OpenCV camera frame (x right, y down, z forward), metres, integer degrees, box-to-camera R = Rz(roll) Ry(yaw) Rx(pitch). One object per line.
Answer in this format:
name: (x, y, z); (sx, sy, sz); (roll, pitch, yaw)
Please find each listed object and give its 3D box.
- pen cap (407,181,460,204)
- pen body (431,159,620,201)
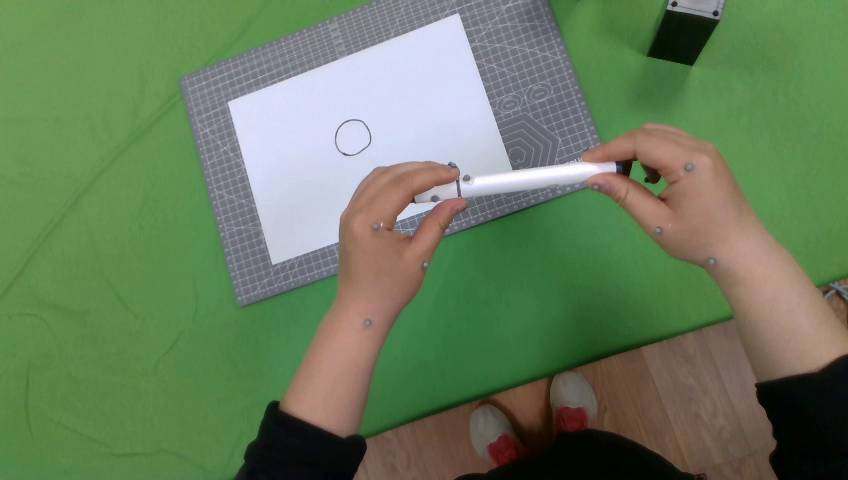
pen cap: (0.007, -0.035, 0.439); (0.038, 0.017, 0.017); (-4, 81, -8)
pen body: (0.068, -0.041, 0.436); (0.144, 0.017, 0.017); (-7, 81, 0)
